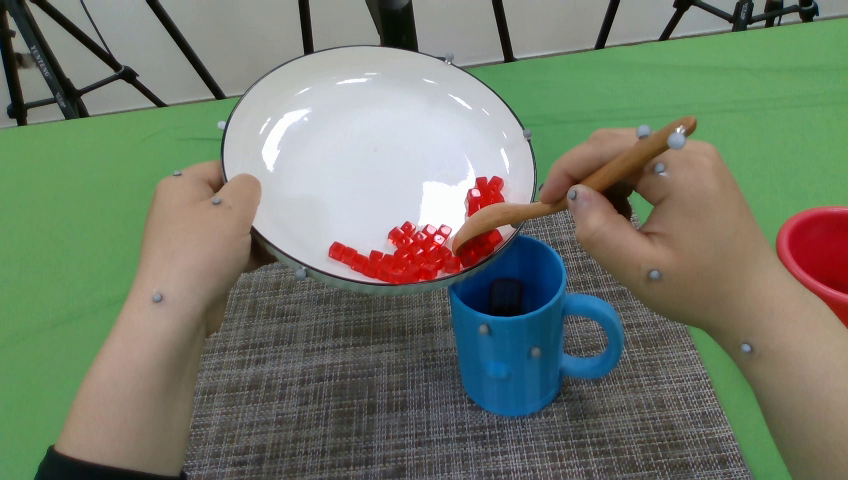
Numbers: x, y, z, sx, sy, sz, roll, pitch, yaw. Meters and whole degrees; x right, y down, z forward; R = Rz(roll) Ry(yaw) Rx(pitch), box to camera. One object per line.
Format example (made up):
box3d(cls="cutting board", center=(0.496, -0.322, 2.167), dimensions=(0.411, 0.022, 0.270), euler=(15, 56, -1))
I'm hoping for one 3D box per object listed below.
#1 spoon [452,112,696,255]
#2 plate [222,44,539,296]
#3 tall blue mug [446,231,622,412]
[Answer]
box3d(cls="spoon", center=(0.064, -0.022, 0.309), dimensions=(0.041, 0.193, 0.021), euler=(-34, 94, -27))
box3d(cls="plate", center=(-0.027, -0.050, 0.414), dimensions=(0.208, 0.039, 0.205), euler=(5, 57, -7))
box3d(cls="tall blue mug", center=(0.073, 0.055, 0.420), dimensions=(0.107, 0.109, 0.077), euler=(-11, 43, -2))
